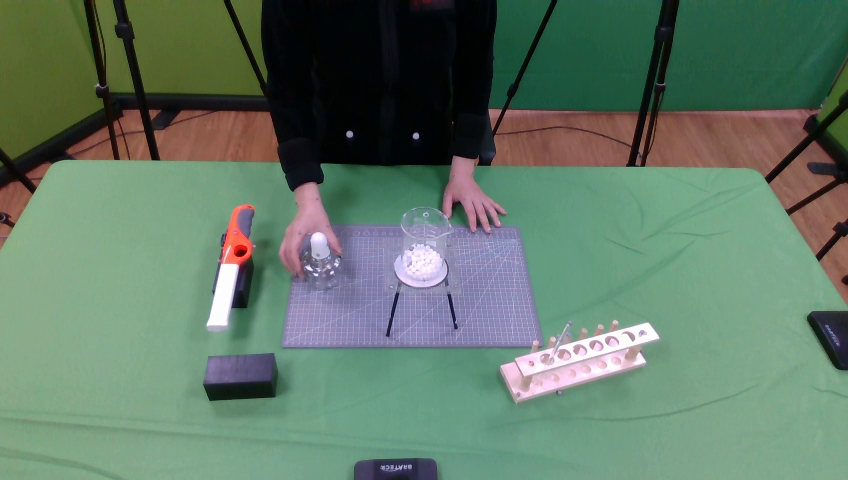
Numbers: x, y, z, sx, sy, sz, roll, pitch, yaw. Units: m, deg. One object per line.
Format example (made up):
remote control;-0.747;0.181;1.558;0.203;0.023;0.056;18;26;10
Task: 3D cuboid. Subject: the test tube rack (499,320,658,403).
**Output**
test tube rack;0.252;0.187;0.994;0.243;0.085;0.066;-12;48;-15

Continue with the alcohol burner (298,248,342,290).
alcohol burner;-0.187;0.033;1.084;0.078;0.120;0.077;1;46;-1

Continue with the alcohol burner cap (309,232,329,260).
alcohol burner cap;-0.186;0.008;1.058;0.034;0.048;0.033;0;42;1

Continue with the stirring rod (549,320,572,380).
stirring rod;0.201;0.167;0.901;0.006;0.177;0.014;-16;55;-10

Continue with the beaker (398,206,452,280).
beaker;0.000;0.009;0.950;0.084;0.101;0.073;10;45;6

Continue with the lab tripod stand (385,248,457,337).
lab tripod stand;-0.010;0.087;1.032;0.148;0.132;0.147;1;45;-1

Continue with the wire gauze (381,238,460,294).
wire gauze;-0.008;0.042;0.985;0.125;0.011;0.120;-1;43;-2

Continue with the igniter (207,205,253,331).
igniter;-0.339;0.038;1.066;0.057;0.025;0.274;2;48;-6
